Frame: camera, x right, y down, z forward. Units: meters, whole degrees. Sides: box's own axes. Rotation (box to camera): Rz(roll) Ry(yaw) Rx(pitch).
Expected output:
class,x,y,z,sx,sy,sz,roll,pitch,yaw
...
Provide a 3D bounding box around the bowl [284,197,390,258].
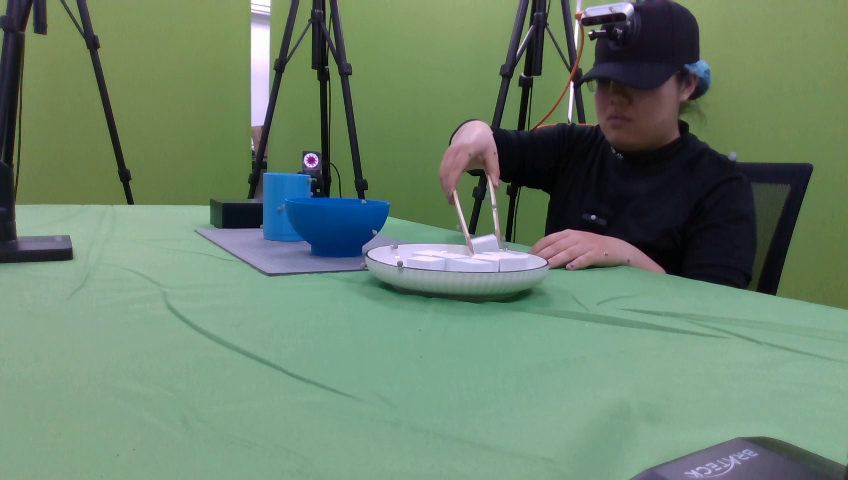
class,x,y,z,sx,sy,sz,roll,pitch,yaw
bowl,-0.125,-0.018,0.870,0.151,0.077,0.151,2,7,0

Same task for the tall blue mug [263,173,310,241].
class,x,y,z,sx,sy,sz,roll,pitch,yaw
tall blue mug,-0.233,-0.058,1.019,0.078,0.108,0.107,-1,8,-19

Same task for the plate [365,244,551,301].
class,x,y,z,sx,sy,sz,roll,pitch,yaw
plate,0.038,0.036,0.685,0.209,0.038,0.209,2,7,0

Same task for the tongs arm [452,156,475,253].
class,x,y,z,sx,sy,sz,roll,pitch,yaw
tongs arm,0.061,-0.066,0.906,0.028,0.028,0.387,-18,20,8

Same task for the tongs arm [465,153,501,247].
class,x,y,z,sx,sy,sz,roll,pitch,yaw
tongs arm,0.084,-0.072,0.903,0.051,0.026,0.384,-14,21,10
